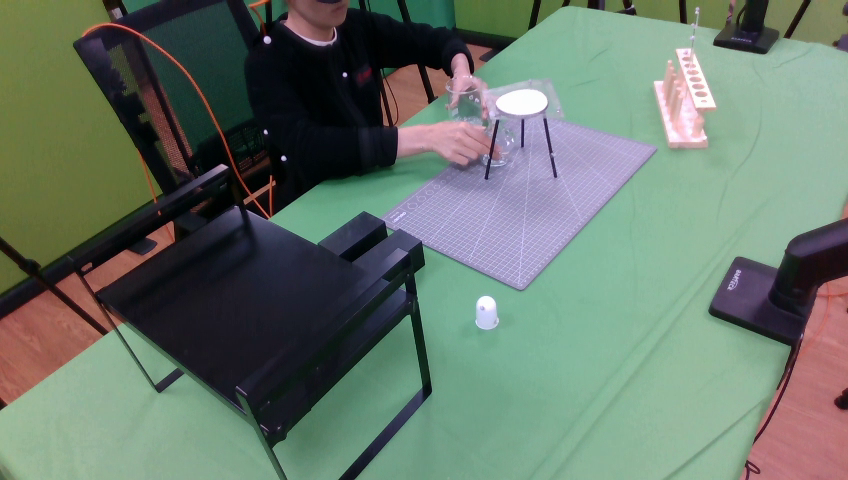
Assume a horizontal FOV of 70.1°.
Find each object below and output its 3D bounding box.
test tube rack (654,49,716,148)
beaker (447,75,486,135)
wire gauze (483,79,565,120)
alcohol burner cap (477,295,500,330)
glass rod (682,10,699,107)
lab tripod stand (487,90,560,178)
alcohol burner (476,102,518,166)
[{"bbox_3d":[0.502,-0.280,1.176,0.066,0.085,0.241,2,41,11],"label":"test tube rack"},{"bbox_3d":[0.089,-0.271,1.219,0.073,0.101,0.084,21,48,29],"label":"beaker"},{"bbox_3d":[0.168,-0.239,1.034,0.125,0.011,0.121,-6,41,2],"label":"wire gauze"},{"bbox_3d":[0.089,0.097,0.833,0.034,0.048,0.033,-4,42,4],"label":"alcohol burner cap"},{"bbox_3d":[0.501,-0.335,1.138,0.008,0.201,0.008,-7,45,7],"label":"glass rod"},{"bbox_3d":[0.175,-0.185,1.074,0.148,0.132,0.147,-5,43,5],"label":"lab tripod stand"},{"bbox_3d":[0.134,-0.197,1.109,0.078,0.119,0.077,-4,41,4],"label":"alcohol burner"}]
